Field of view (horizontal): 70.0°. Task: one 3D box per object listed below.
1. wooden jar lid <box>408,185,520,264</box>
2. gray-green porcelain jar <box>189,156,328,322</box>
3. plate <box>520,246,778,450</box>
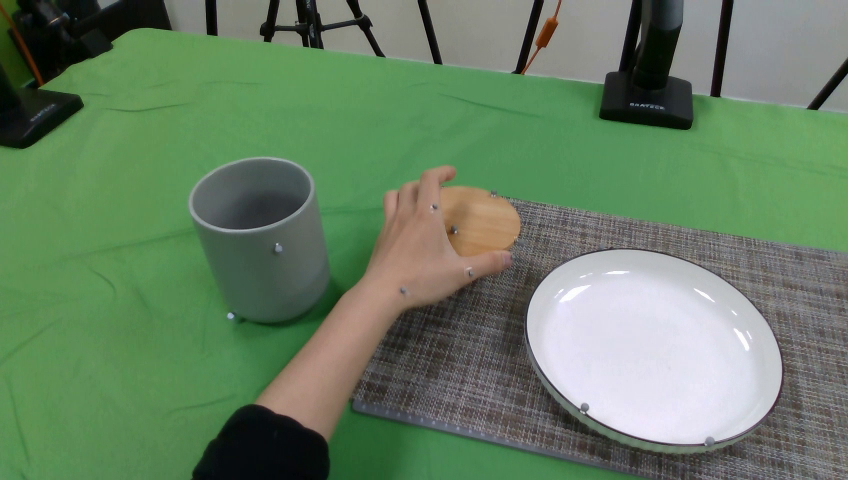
[{"bbox_3d":[0.038,-0.014,0.586,0.108,0.021,0.107,3,41,-2],"label":"wooden jar lid"},{"bbox_3d":[-0.146,0.004,0.558,0.106,0.127,0.105,0,43,1],"label":"gray-green porcelain jar"},{"bbox_3d":[0.185,0.089,0.521,0.208,0.039,0.205,0,43,1],"label":"plate"}]
